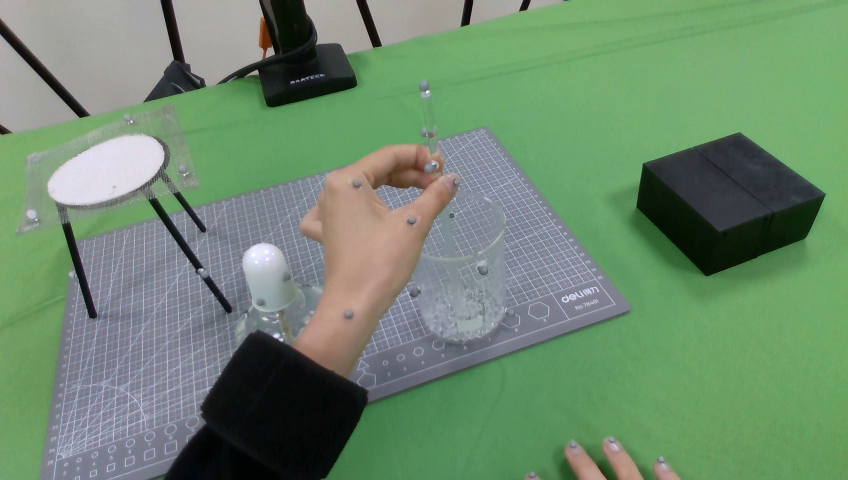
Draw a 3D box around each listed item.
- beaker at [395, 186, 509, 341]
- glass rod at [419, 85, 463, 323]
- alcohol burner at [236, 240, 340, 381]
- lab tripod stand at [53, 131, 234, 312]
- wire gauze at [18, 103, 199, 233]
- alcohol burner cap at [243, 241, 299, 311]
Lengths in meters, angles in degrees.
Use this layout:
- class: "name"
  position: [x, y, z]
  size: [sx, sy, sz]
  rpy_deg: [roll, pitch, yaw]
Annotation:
- class: "beaker"
  position: [0.024, 0.022, 0.458]
  size: [0.084, 0.101, 0.073]
  rpy_deg: [-20, 44, -11]
- class: "glass rod"
  position: [0.013, -0.013, 0.418]
  size: [0.008, 0.201, 0.008]
  rpy_deg: [-6, 39, 5]
- class: "alcohol burner"
  position: [-0.103, 0.048, 0.440]
  size: [0.078, 0.120, 0.077]
  rpy_deg: [-5, 41, 5]
- class: "lab tripod stand"
  position: [-0.234, -0.010, 0.506]
  size: [0.148, 0.133, 0.147]
  rpy_deg: [-4, 45, 5]
- class: "wire gauze"
  position: [-0.241, -0.058, 0.460]
  size: [0.125, 0.011, 0.120]
  rpy_deg: [-22, 45, -12]
- class: "alcohol burner cap"
  position: [-0.107, 0.022, 0.415]
  size: [0.034, 0.048, 0.033]
  rpy_deg: [-4, 41, 4]
